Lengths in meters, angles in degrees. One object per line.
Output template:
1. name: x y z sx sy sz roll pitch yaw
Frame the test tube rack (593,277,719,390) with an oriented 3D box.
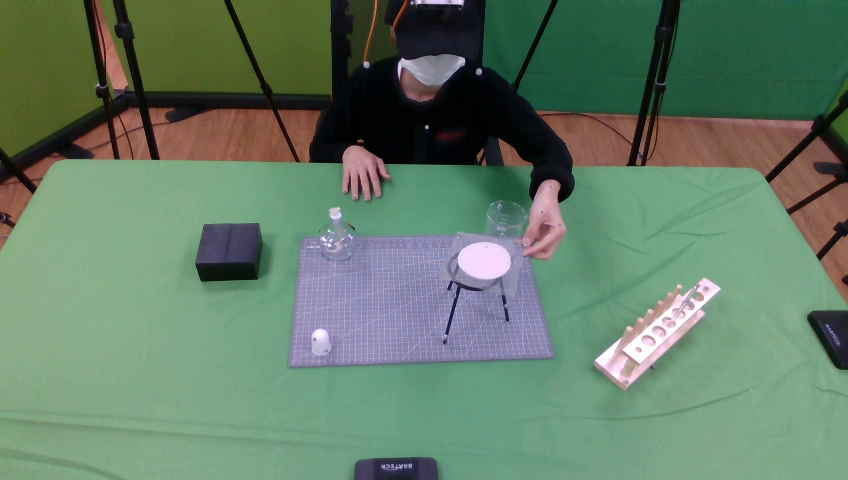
1. test tube rack: 0.401 0.148 1.043 0.242 0.085 0.066 -30 55 -29

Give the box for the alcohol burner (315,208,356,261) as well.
1. alcohol burner: -0.166 -0.017 1.134 0.078 0.120 0.077 2 48 -2

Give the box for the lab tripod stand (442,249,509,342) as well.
1. lab tripod stand: 0.082 0.091 1.036 0.148 0.132 0.147 3 44 -3

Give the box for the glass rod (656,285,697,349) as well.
1. glass rod: 0.401 0.128 0.971 0.008 0.201 0.008 0 53 1

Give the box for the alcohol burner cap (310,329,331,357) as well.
1. alcohol burner cap: -0.173 0.168 1.004 0.034 0.048 0.033 2 46 -2

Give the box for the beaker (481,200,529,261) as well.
1. beaker: 0.153 -0.015 1.169 0.084 0.101 0.073 -2 46 -7

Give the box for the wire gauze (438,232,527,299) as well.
1. wire gauze: 0.096 0.035 0.970 0.125 0.011 0.121 12 45 13
